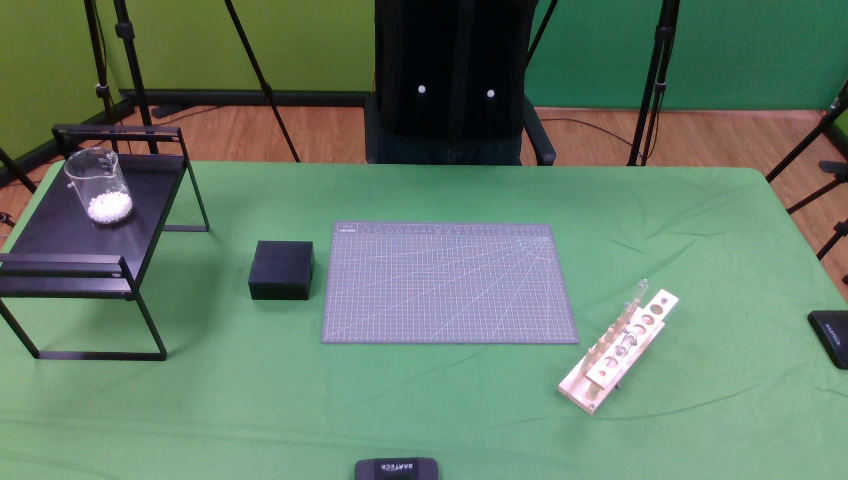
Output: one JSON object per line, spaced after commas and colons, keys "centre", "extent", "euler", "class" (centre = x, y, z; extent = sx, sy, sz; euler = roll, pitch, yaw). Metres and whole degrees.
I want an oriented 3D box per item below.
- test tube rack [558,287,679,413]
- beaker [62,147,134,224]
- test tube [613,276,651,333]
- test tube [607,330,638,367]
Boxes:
{"centre": [0.326, 0.170, 1.009], "extent": [0.066, 0.085, 0.242], "euler": [36, 54, 27], "class": "test tube rack"}
{"centre": [-0.495, -0.080, 0.933], "extent": [0.084, 0.101, 0.074], "euler": [23, 49, 16], "class": "beaker"}
{"centre": [0.344, 0.109, 1.007], "extent": [0.017, 0.151, 0.017], "euler": [3, 49, -3], "class": "test tube"}
{"centre": [0.293, 0.184, 0.925], "extent": [0.017, 0.151, 0.017], "euler": [4, 49, -4], "class": "test tube"}
